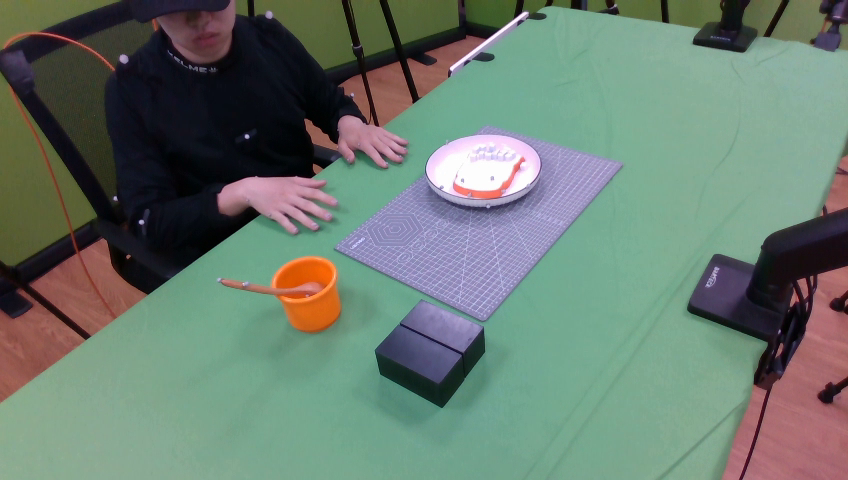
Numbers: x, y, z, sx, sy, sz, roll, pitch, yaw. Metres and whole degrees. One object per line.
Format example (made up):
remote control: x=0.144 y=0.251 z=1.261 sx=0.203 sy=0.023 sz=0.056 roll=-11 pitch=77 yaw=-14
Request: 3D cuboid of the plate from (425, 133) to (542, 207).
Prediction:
plate: x=0.106 y=-0.121 z=1.079 sx=0.209 sy=0.038 sz=0.208 roll=-4 pitch=41 yaw=4

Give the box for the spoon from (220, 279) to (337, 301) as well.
spoon: x=-0.189 y=0.068 z=0.813 sx=0.041 sy=0.021 sz=0.195 roll=32 pitch=14 yaw=36

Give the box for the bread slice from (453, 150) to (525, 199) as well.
bread slice: x=0.112 y=-0.118 z=1.079 sx=0.104 sy=0.019 sz=0.131 roll=11 pitch=42 yaw=21
